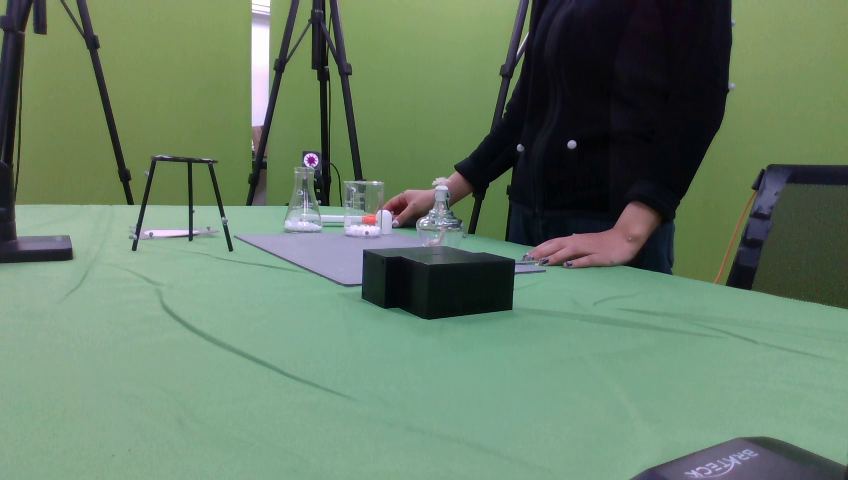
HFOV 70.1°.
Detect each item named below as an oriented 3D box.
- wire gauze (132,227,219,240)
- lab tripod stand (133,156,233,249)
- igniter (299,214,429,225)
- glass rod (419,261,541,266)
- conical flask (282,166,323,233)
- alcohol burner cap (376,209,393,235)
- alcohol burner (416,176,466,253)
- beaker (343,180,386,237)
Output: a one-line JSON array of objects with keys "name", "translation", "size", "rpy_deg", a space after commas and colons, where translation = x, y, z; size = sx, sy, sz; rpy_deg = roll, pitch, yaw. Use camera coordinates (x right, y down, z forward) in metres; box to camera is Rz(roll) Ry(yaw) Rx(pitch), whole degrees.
[{"name": "wire gauze", "translation": [-0.421, -0.014, 1.024], "size": [0.122, 0.011, 0.124], "rpy_deg": [-2, 7, -34]}, {"name": "lab tripod stand", "translation": [-0.342, -0.054, 0.878], "size": [0.148, 0.131, 0.148], "rpy_deg": [4, 6, 0]}, {"name": "igniter", "translation": [-0.123, -0.044, 1.280], "size": [0.278, 0.025, 0.057], "rpy_deg": [0, 3, -20]}, {"name": "glass rod", "translation": [0.080, 0.031, 0.807], "size": [0.201, 0.008, 0.008], "rpy_deg": [1, 6, -32]}, {"name": "conical flask", "translation": [-0.225, -0.076, 1.129], "size": [0.075, 0.122, 0.075], "rpy_deg": [2, 8, 0]}, {"name": "alcohol burner cap", "translation": [-0.075, -0.036, 1.150], "size": [0.034, 0.048, 0.034], "rpy_deg": [2, 7, 0]}, {"name": "alcohol burner", "translation": [0.027, -0.039, 0.934], "size": [0.078, 0.119, 0.078], "rpy_deg": [2, 9, 0]}, {"name": "beaker", "translation": [-0.111, -0.058, 1.090], "size": [0.083, 0.100, 0.074], "rpy_deg": [7, 8, 33]}]
